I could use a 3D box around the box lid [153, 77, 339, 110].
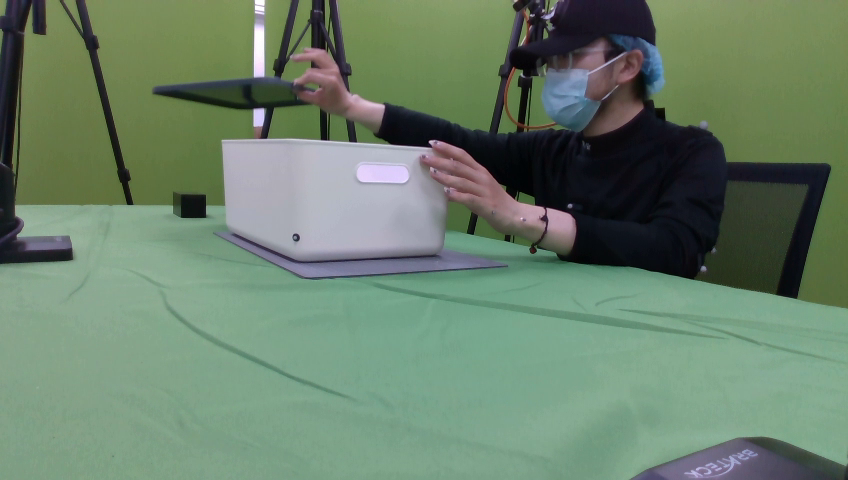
[{"bbox_3d":[-0.363,-0.307,1.295,0.263,0.015,0.372,-2,6,13],"label":"box lid"}]

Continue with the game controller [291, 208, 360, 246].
[{"bbox_3d":[-0.161,-0.023,0.967,0.097,0.051,0.154,-4,9,-15],"label":"game controller"}]

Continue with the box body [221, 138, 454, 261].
[{"bbox_3d":[-0.152,-0.075,0.963,0.255,0.160,0.362,-3,9,-33],"label":"box body"}]
